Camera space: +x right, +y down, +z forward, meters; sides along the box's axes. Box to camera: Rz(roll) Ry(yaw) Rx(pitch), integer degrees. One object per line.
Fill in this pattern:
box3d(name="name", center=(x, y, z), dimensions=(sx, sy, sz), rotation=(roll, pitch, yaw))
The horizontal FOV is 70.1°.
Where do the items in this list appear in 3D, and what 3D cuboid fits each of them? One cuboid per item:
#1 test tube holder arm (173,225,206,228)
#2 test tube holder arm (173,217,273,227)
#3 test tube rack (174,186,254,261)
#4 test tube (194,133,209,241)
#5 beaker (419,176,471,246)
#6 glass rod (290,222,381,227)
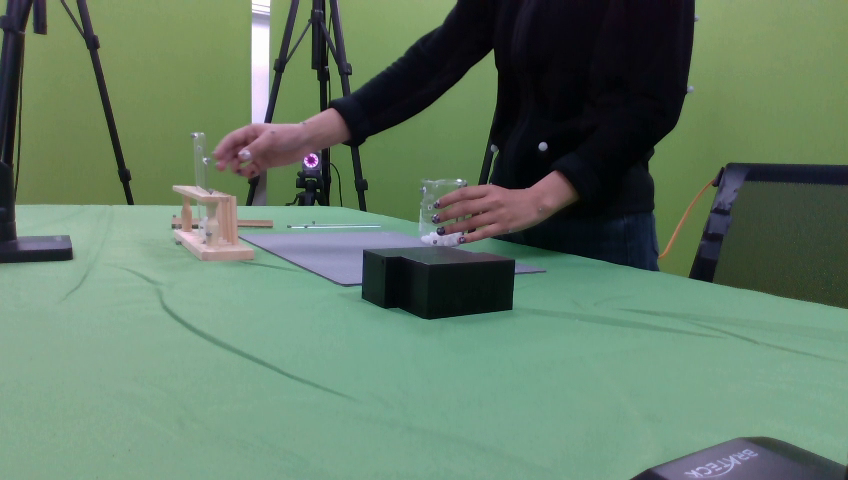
box3d(name="test tube holder arm", center=(-0.415, -0.030, 1.113), dimensions=(0.088, 0.015, 0.010), rotation=(-1, -23, -25))
box3d(name="test tube holder arm", center=(-0.371, -0.032, 1.128), dimensions=(0.179, 0.015, 0.013), rotation=(0, -24, -26))
box3d(name="test tube rack", center=(-0.314, -0.031, 0.889), dimensions=(0.067, 0.085, 0.241), rotation=(-2, 8, -30))
box3d(name="test tube", center=(-0.307, -0.074, 0.842), dimensions=(0.017, 0.150, 0.017), rotation=(-2, 2, 0))
box3d(name="beaker", center=(0.028, -0.045, 0.917), dimensions=(0.074, 0.100, 0.083), rotation=(-2, 12, -24))
box3d(name="glass rod", center=(-0.178, -0.033, 1.247), dimensions=(0.201, 0.008, 0.008), rotation=(-2, 8, -30))
